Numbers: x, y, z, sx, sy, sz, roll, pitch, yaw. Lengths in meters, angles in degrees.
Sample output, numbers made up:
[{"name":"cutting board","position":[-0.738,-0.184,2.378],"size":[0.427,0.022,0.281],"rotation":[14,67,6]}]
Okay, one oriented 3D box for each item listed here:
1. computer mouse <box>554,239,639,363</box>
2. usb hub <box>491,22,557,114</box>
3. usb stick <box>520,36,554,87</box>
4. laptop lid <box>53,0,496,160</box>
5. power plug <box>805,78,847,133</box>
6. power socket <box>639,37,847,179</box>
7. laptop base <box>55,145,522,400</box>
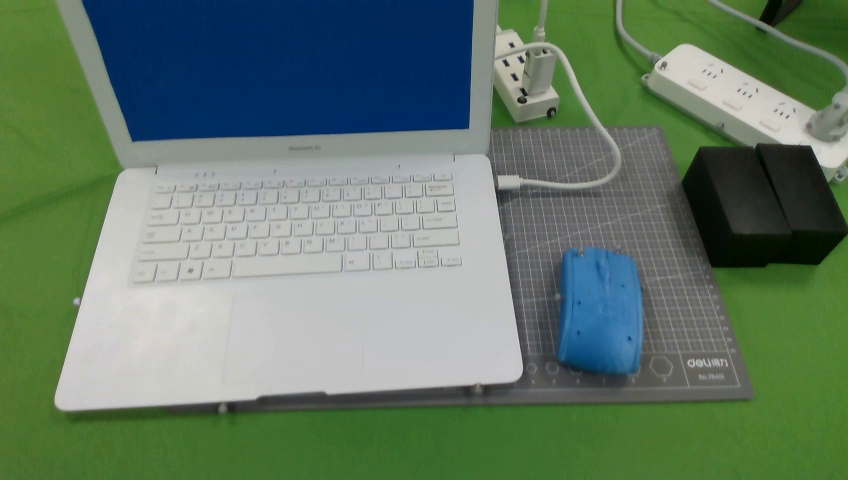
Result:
[{"name":"computer mouse","position":[0.140,0.044,0.492],"size":[0.062,0.041,0.116],"rotation":[9,51,8]},{"name":"usb hub","position":[0.097,-0.192,0.668],"size":[0.049,0.025,0.124],"rotation":[-15,56,-11]},{"name":"usb stick","position":[0.115,-0.177,0.622],"size":[0.027,0.060,0.021],"rotation":[-21,56,-11]},{"name":"laptop lid","position":[-0.116,-0.169,0.510],"size":[0.357,0.244,0.013],"rotation":[-4,42,-2]},{"name":"power plug","position":[0.409,-0.128,0.597],"size":[0.072,0.053,0.035],"rotation":[-29,59,-18]},{"name":"power socket","position":[0.336,-0.143,0.633],"size":[0.072,0.033,0.225],"rotation":[-37,63,-25]},{"name":"laptop base","position":[-0.107,0.016,0.522],"size":[0.355,0.023,0.233],"rotation":[-3,58,-3]}]
